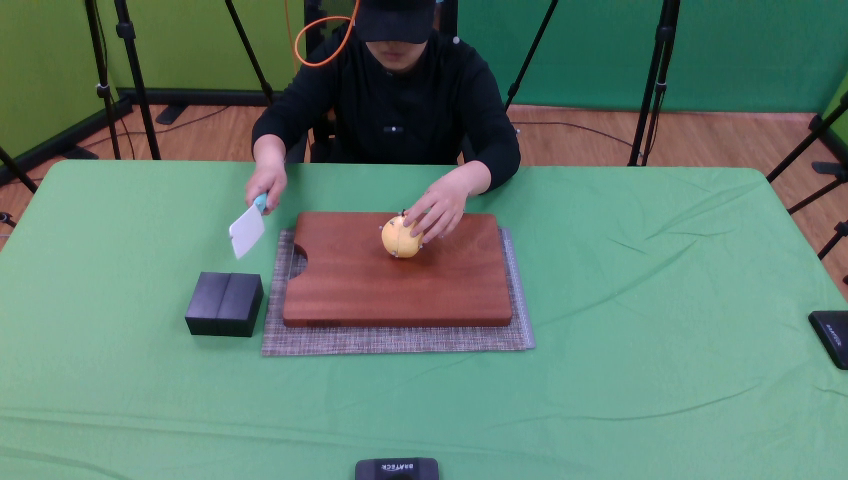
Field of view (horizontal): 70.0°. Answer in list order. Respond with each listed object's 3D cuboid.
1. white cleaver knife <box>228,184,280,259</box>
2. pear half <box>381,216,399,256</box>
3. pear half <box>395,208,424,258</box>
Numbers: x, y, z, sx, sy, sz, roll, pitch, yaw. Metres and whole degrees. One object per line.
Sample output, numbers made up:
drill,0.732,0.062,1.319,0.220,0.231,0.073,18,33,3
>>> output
white cleaver knife,-0.302,-0.038,1.088,0.021,0.066,0.285,-6,20,5
pear half,-0.063,-0.009,1.116,0.031,0.088,0.070,-7,55,-10
pear half,-0.027,-0.018,1.114,0.056,0.110,0.076,-6,50,-11
